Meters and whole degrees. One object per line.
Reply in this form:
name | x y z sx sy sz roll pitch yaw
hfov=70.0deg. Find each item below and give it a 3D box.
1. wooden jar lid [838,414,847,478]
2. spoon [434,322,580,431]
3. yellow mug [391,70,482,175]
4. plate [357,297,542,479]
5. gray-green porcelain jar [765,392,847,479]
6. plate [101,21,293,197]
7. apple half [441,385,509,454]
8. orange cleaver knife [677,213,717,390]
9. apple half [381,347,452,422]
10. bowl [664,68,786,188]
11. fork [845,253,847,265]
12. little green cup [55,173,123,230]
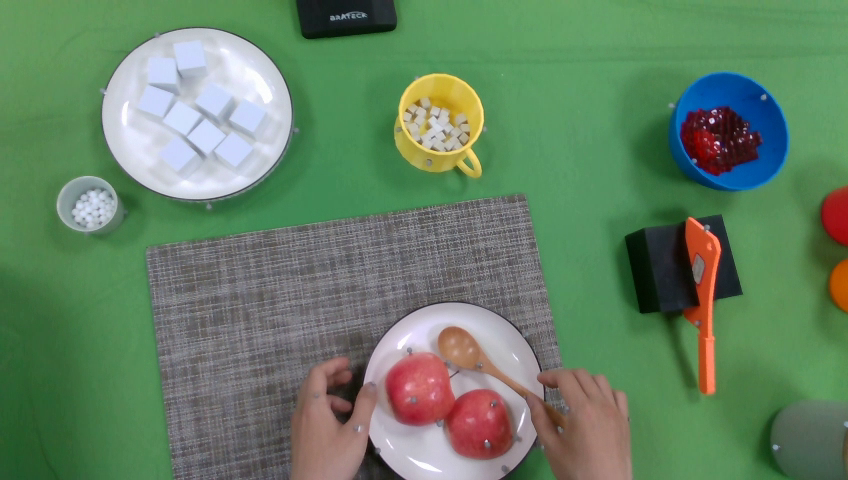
wooden jar lid | 0.482 0.220 0.640 0.108 0.021 0.108 1 83 -9
spoon | 0.093 0.157 0.683 0.193 0.022 0.041 34 70 10
yellow mug | 0.023 -0.131 0.724 0.100 0.064 0.131 -38 88 -13
plate | 0.027 0.169 0.685 0.209 0.038 0.208 1 81 -8
gray-green porcelain jar | 0.474 0.232 0.700 0.106 0.126 0.105 1 80 -8
plate | -0.255 -0.148 0.699 0.208 0.039 0.207 2 80 -8
apple half | 0.059 0.203 0.676 0.081 0.033 0.081 2 77 -7
orange cleaver knife | 0.324 0.075 0.726 0.012 0.076 0.212 -8 105 -6
apple half | -0.008 0.160 0.665 0.075 0.053 0.080 -12 82 -8
bowl | 0.364 -0.131 0.769 0.152 0.077 0.151 1 81 -8
fork | 0.570 0.084 0.727 0.028 0.019 0.205 7 36 -8
little green cup | -0.363 -0.039 0.662 0.062 0.038 0.061 2 81 -10
